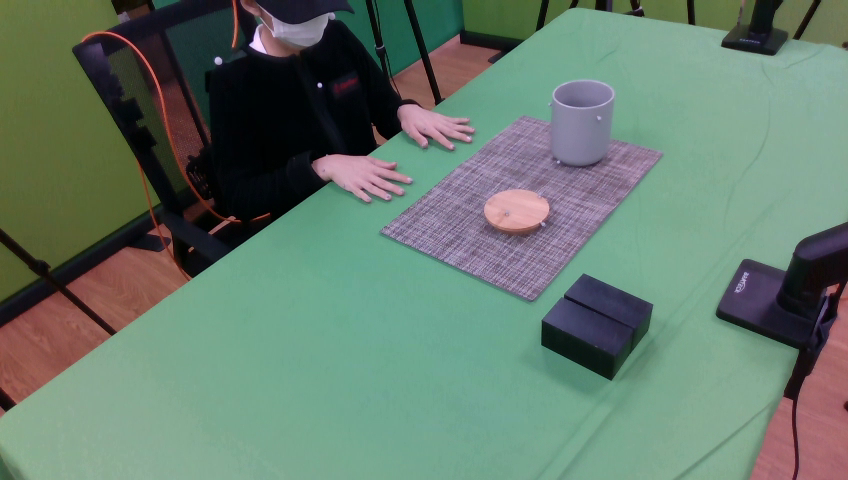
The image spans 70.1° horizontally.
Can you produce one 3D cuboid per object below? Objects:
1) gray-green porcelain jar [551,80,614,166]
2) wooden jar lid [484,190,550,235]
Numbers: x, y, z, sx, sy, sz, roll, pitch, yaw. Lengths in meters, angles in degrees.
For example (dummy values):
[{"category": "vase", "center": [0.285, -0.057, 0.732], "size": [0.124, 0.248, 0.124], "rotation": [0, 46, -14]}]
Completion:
[{"category": "gray-green porcelain jar", "center": [0.282, -0.205, 1.087], "size": [0.106, 0.127, 0.105], "rotation": [-4, 40, 4]}, {"category": "wooden jar lid", "center": [0.154, -0.045, 1.001], "size": [0.108, 0.021, 0.108], "rotation": [-3, 40, 3]}]
